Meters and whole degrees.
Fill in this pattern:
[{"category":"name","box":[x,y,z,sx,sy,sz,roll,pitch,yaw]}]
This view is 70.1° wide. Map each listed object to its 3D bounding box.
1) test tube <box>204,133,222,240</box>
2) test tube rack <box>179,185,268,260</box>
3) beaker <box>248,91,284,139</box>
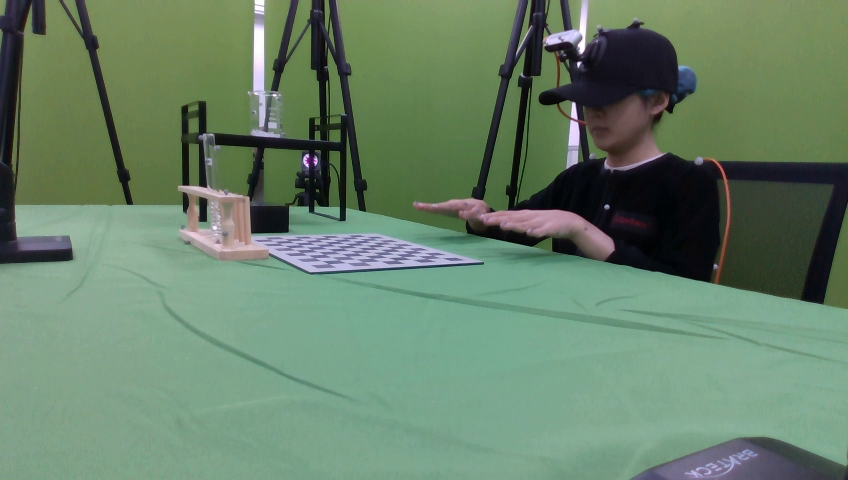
[{"category":"test tube","box":[-0.295,-0.075,0.849,0.017,0.150,0.017,-3,6,1]},{"category":"test tube rack","box":[-0.303,-0.031,0.898,0.067,0.085,0.241,-2,9,-33]},{"category":"beaker","box":[-0.353,-0.277,1.343,0.073,0.100,0.084,8,9,39]}]
